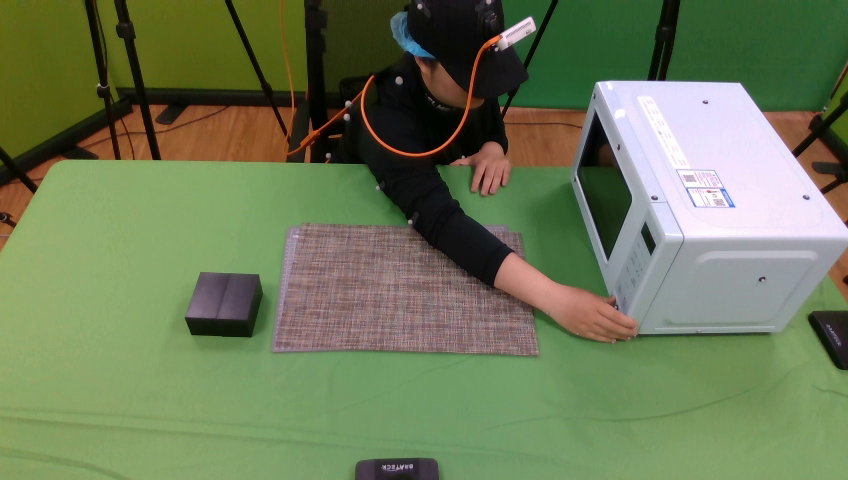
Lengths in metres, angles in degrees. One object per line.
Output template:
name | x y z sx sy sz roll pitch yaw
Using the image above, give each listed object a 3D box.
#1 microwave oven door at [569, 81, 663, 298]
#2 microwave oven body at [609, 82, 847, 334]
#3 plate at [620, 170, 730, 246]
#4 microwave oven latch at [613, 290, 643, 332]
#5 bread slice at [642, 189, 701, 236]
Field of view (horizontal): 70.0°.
microwave oven door | 0.353 -0.103 1.147 0.039 0.245 0.353 0 46 -4
microwave oven body | 0.501 -0.069 1.132 0.326 0.261 0.438 -1 45 -3
plate | 0.490 -0.059 1.194 0.209 0.038 0.208 3 46 -3
microwave oven latch | 0.357 0.125 1.068 0.030 0.029 0.078 0 45 -3
bread slice | 0.494 -0.056 1.197 0.105 0.019 0.131 6 41 4
